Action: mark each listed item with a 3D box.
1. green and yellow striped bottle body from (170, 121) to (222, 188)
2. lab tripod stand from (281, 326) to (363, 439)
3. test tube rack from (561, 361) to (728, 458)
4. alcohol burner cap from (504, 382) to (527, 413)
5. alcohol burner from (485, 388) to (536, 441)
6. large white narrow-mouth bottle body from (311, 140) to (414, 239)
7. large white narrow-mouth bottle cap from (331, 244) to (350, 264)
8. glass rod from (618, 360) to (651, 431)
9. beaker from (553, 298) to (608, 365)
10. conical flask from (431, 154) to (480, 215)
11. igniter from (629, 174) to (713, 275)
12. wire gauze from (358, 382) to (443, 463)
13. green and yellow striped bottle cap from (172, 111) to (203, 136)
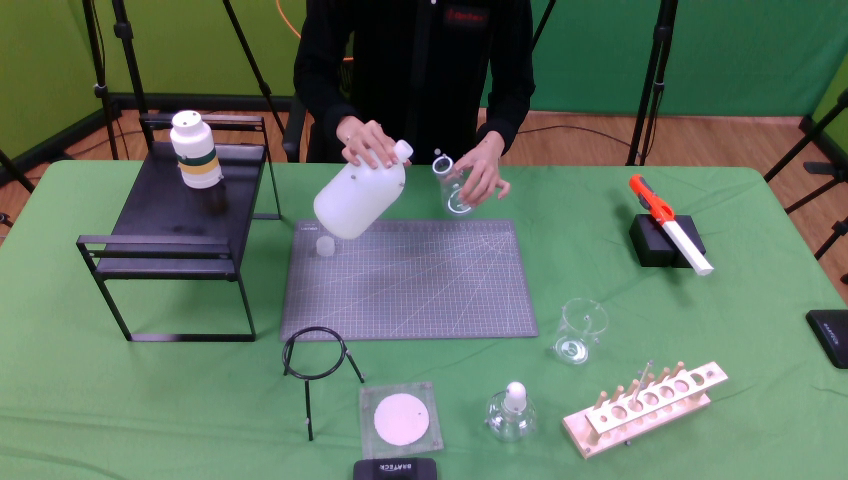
[{"bbox_3d":[-0.375,-0.149,0.995,0.063,0.120,0.063,2,46,-2],"label":"green and yellow striped bottle body"},{"bbox_3d":[-0.166,0.203,0.913,0.148,0.132,0.147,1,47,-1],"label":"lab tripod stand"},{"bbox_3d":[0.341,0.248,0.940,0.243,0.085,0.066,-15,49,-18],"label":"test tube rack"},{"bbox_3d":[0.133,0.225,0.877,0.034,0.048,0.033,-4,47,4],"label":"alcohol burner cap"},{"bbox_3d":[0.131,0.249,0.904,0.078,0.120,0.077,1,48,-1],"label":"alcohol burner"},{"bbox_3d":[-0.095,-0.095,1.024,0.102,0.195,0.101,42,21,-20],"label":"large white narrow-mouth bottle body"},{"bbox_3d":[-0.160,0.026,1.162,0.038,0.024,0.037,4,46,-4],"label":"large white narrow-mouth bottle cap"},{"bbox_3d":[0.298,0.226,0.865,0.008,0.201,0.008,-1,48,2],"label":"glass rod"},{"bbox_3d":[0.260,0.154,1.015,0.073,0.101,0.084,37,54,27],"label":"beaker"},{"bbox_3d":[0.049,-0.103,1.083,0.075,0.122,0.075,-10,60,18],"label":"conical flask"},{"bbox_3d":[0.481,-0.040,1.202,0.057,0.025,0.274,-2,46,-21],"label":"igniter"},{"bbox_3d":[-0.039,0.276,0.937,0.121,0.011,0.124,-4,47,-7],"label":"wire gauze"},{"bbox_3d":[-0.374,-0.185,0.957,0.045,0.020,0.045,3,45,-3],"label":"green and yellow striped bottle cap"}]
